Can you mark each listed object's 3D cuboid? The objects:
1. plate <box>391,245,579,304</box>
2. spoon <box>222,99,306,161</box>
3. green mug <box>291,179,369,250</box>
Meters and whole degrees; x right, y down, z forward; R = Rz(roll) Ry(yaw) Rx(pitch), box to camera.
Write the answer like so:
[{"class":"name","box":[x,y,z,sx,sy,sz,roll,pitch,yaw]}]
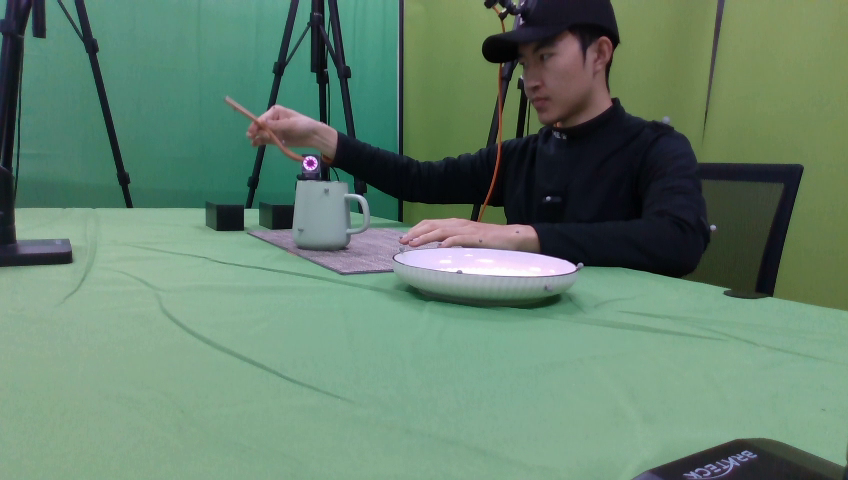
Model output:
[{"class":"plate","box":[0.066,0.038,0.683,0.209,0.038,0.209,2,7,0]},{"class":"spoon","box":[-0.317,-0.219,1.206,0.194,0.021,0.041,41,11,-17]},{"class":"green mug","box":[-0.144,-0.040,0.944,0.125,0.105,0.093,4,7,16]}]
